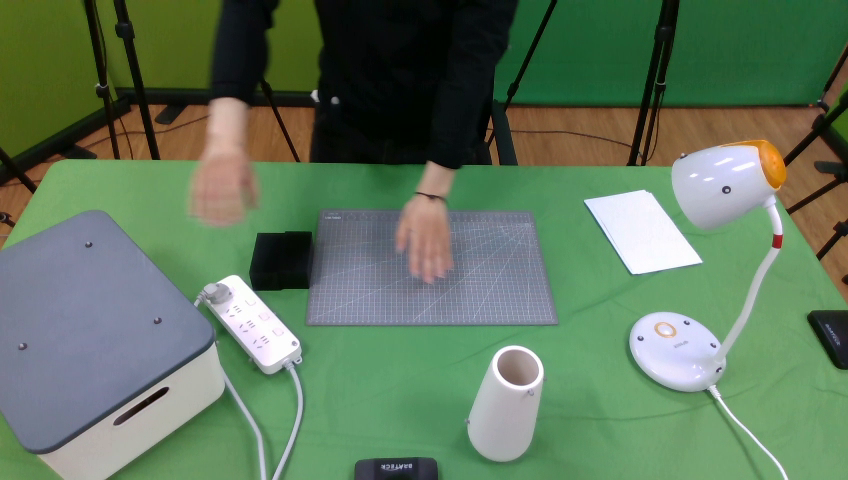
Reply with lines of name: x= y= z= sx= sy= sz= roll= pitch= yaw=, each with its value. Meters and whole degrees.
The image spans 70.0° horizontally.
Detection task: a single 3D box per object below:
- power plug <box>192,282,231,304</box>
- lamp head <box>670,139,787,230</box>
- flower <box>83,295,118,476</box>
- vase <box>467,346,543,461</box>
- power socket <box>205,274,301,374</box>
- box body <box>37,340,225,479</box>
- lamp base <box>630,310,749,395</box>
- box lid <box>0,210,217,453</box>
power plug: x=-0.368 y=0.097 z=1.039 sx=0.072 sy=0.053 sz=0.035 roll=-26 pitch=55 yaw=-20
lamp head: x=0.415 y=-0.079 z=0.812 sx=0.113 sy=0.123 sz=0.112 roll=13 pitch=70 yaw=-37
flower: x=-0.513 y=0.210 z=0.960 sx=0.044 sy=0.038 sz=0.359 roll=5 pitch=35 yaw=-32
vase: x=0.116 y=0.234 z=0.861 sx=0.098 sy=0.201 sz=0.097 roll=1 pitch=47 yaw=-1
power socket: x=-0.296 y=0.140 z=1.035 sx=0.072 sy=0.033 sz=0.225 roll=-33 pitch=57 yaw=-29
box body: x=-0.504 y=0.154 z=0.917 sx=0.362 sy=0.161 sz=0.254 roll=36 pitch=54 yaw=27
lamp base: x=0.447 y=0.142 z=0.984 sx=0.161 sy=0.181 sz=0.178 roll=-24 pitch=55 yaw=-24
box lid: x=-0.502 y=0.102 z=0.865 sx=0.369 sy=0.015 sz=0.263 roll=36 pitch=54 yaw=27
